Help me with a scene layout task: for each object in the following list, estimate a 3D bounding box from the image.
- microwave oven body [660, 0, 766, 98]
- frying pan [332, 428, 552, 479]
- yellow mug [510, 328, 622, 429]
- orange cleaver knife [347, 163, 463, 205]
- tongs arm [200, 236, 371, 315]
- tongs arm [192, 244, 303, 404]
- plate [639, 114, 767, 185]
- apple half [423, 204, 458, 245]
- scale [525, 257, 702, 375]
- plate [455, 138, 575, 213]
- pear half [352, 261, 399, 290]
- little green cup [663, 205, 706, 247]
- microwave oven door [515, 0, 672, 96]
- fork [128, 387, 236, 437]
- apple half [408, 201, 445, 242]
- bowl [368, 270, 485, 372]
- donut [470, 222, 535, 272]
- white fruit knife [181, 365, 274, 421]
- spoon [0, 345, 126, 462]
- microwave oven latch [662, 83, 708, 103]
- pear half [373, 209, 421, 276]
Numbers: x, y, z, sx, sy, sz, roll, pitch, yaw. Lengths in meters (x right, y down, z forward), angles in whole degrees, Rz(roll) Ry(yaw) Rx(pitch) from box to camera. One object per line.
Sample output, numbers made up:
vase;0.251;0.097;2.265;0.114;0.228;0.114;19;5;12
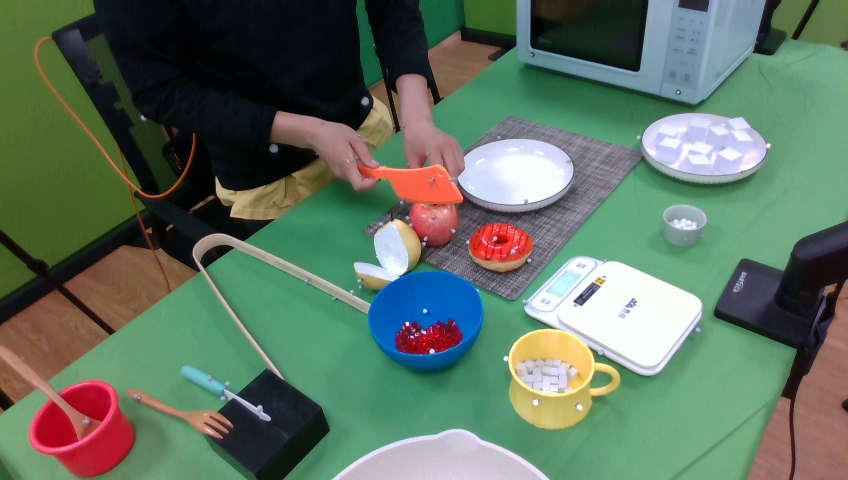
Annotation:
microwave oven body;0.472;-0.513;1.317;0.438;0.261;0.327;26;51;34
frying pan;-0.089;0.306;0.564;0.487;0.103;0.306;10;41;7
yellow mug;0.168;0.164;0.722;0.130;0.064;0.099;0;40;8
orange cleaver knife;-0.033;-0.088;0.932;0.209;0.077;0.012;9;45;37
tongs arm;-0.209;0.062;0.924;0.381;0.026;0.051;23;53;32
tongs arm;-0.268;0.109;0.882;0.028;0.028;0.384;-35;46;-18
plate;0.489;-0.157;1.074;0.207;0.039;0.206;-4;40;4
apple half;0.024;-0.037;0.970;0.080;0.075;0.053;24;46;37
scale;0.254;0.091;0.821;0.199;0.032;0.149;28;51;35
plate;0.159;-0.111;1.063;0.209;0.038;0.208;-4;40;4
pear half;-0.076;0.057;0.894;0.070;0.031;0.088;20;13;24
little green cup;0.396;-0.020;0.926;0.061;0.039;0.061;-4;40;4
microwave oven door;0.343;-0.454;1.259;0.353;0.245;0.039;26;51;33
fork;-0.305;0.207;0.744;0.206;0.019;0.028;3;41;36
apple half;0.001;-0.021;0.950;0.080;0.082;0.033;24;57;31
bowl;0.007;0.118;0.791;0.151;0.077;0.150;-5;40;4
donut;0.119;0.009;0.923;0.099;0.048;0.098;-4;38;3
white fruit knife;-0.245;0.187;0.747;0.205;0.027;0.016;9;41;40
spoon;-0.434;0.192;0.720;0.194;0.021;0.042;47;54;-7
microwave oven latch;0.517;-0.296;1.204;0.078;0.029;0.030;27;52;35
pear half;-0.037;-0.005;0.918;0.076;0.110;0.056;21;41;25
